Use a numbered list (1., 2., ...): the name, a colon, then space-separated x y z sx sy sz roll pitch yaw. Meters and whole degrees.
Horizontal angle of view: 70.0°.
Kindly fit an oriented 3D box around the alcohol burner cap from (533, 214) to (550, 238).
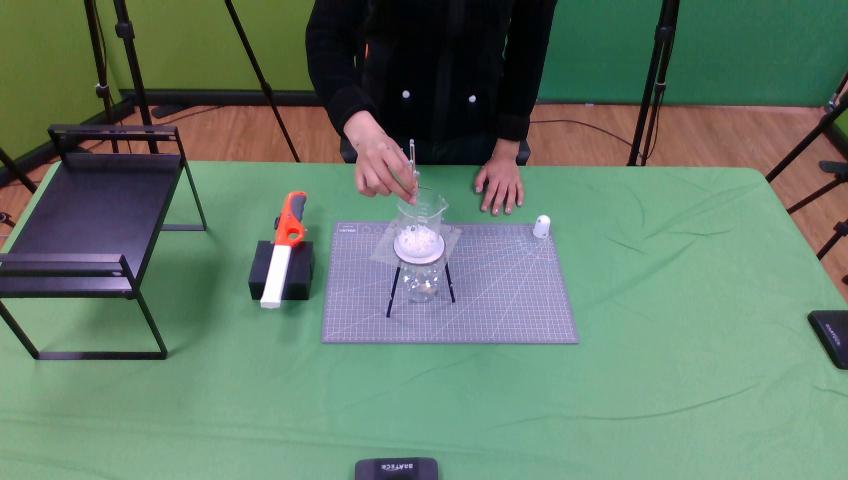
1. alcohol burner cap: 0.240 -0.030 1.229 0.034 0.048 0.033 1 46 -1

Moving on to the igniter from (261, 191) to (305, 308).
1. igniter: -0.255 0.007 1.104 0.057 0.025 0.275 5 47 -4

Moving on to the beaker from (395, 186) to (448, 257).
1. beaker: -0.006 -0.027 0.985 0.084 0.101 0.073 1 48 -4

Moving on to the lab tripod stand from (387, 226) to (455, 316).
1. lab tripod stand: -0.013 0.055 1.064 0.148 0.132 0.147 2 48 -2

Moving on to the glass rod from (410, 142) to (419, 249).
1. glass rod: -0.015 -0.062 0.927 0.008 0.201 0.008 -1 40 1

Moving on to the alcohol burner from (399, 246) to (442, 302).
1. alcohol burner: -0.006 0.055 1.078 0.078 0.119 0.077 3 44 -3

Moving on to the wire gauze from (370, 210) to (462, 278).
1. wire gauze: -0.012 0.007 1.019 0.121 0.011 0.124 16 51 13
